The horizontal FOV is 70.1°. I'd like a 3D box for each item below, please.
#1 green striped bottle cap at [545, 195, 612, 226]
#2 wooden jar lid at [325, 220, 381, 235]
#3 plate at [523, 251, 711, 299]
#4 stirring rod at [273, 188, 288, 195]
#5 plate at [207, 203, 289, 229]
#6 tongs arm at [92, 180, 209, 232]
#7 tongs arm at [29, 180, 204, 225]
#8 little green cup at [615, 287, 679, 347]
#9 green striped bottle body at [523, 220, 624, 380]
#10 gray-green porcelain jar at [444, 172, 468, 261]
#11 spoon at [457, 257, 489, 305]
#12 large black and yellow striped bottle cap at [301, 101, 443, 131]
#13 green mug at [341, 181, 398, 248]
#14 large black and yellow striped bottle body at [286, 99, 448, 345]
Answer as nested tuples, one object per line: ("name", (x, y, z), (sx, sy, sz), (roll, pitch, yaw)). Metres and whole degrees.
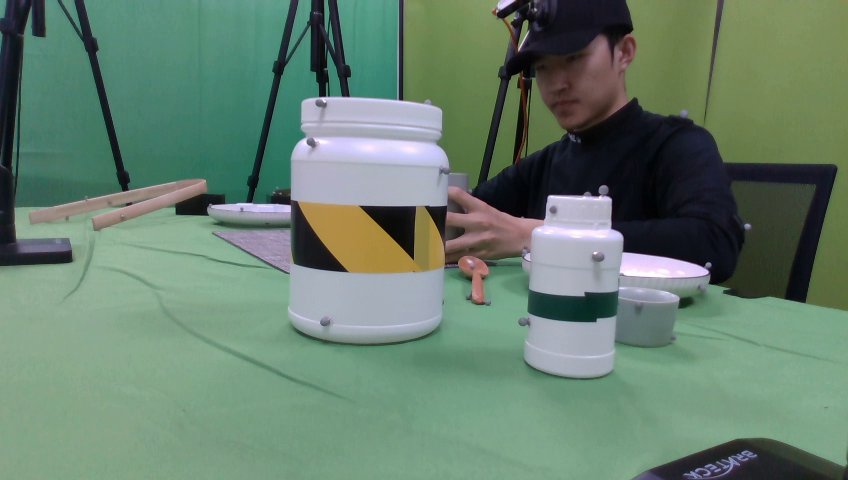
("green striped bottle cap", (0.106, -0.020, 0.414), (0.044, 0.020, 0.044), (2, 4, 0))
("wooden jar lid", (-0.136, -0.025, 1.162), (0.108, 0.020, 0.108), (3, 8, 0))
("plate", (0.219, 0.041, 0.706), (0.209, 0.038, 0.209), (2, 7, 0))
("stirring rod", (-0.353, -0.122, 1.518), (0.006, 0.014, 0.176), (1, 6, 1))
("plate", (-0.342, -0.050, 1.259), (0.208, 0.039, 0.207), (2, 7, 0))
("tongs arm", (-0.534, -0.076, 1.221), (0.028, 0.028, 0.388), (-2, 15, 12))
("tongs arm", (-0.609, -0.083, 1.245), (0.050, 0.026, 0.386), (5, 16, 23))
("little green cup", (0.180, 0.064, 0.506), (0.061, 0.038, 0.061), (2, 8, 0))
("green striped bottle body", (0.104, 0.031, 0.421), (0.063, 0.119, 0.063), (2, 8, 0))
("gray-green porcelain jar", (0.009, -0.036, 0.875), (0.106, 0.126, 0.106), (2, 7, 0))
("spoon", (0.059, 0.044, 0.696), (0.041, 0.021, 0.194), (19, 7, 0))
("large black and yellow striped bottle cap", (-0.042, -0.100, 0.491), (0.115, 0.019, 0.115), (1, 8, 0))
("green mug", (-0.089, -0.044, 0.996), (0.093, 0.105, 0.125), (1, 6, -8))
("large black and yellow striped bottle body", (-0.047, -0.018, 0.501), (0.131, 0.184, 0.130), (2, 7, 0))
